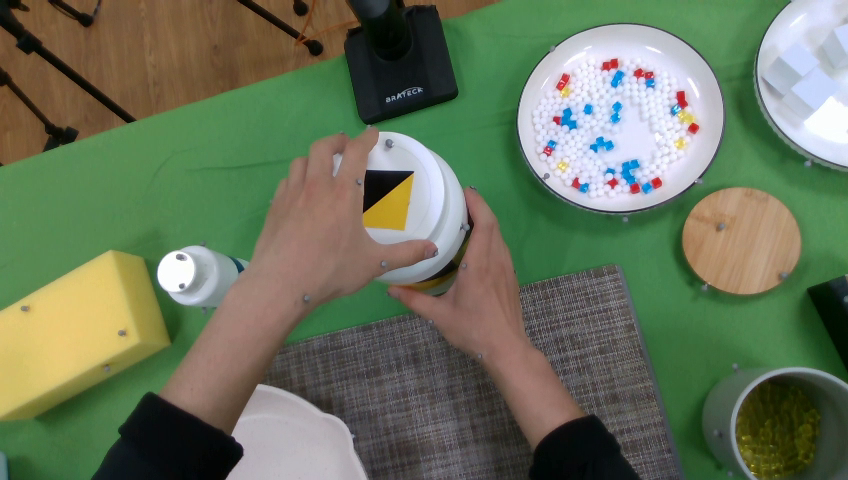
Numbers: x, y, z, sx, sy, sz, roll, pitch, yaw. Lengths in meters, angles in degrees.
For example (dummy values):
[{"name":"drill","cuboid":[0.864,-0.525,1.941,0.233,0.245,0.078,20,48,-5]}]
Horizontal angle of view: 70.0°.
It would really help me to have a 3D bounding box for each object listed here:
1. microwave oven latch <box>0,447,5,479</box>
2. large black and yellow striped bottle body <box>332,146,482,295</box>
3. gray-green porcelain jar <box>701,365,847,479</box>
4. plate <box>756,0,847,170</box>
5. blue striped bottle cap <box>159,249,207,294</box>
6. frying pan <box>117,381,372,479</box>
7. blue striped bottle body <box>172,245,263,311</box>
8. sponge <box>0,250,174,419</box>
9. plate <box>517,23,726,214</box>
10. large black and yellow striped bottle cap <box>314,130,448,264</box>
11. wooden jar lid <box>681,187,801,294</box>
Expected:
[{"name":"microwave oven latch","cuboid":[-0.504,0.279,0.698,0.030,0.029,0.078,-15,77,9]},{"name":"large black and yellow striped bottle body","cuboid":[-0.018,-0.019,0.594,0.130,0.185,0.130,-2,78,12]},{"name":"gray-green porcelain jar","cuboid":[0.302,0.161,0.520,0.105,0.127,0.105,-2,78,12]},{"name":"plate","cuboid":[0.438,-0.162,0.597,0.207,0.039,0.206,-2,79,12]},{"name":"blue striped bottle cap","cuboid":[-0.243,0.032,0.611,0.044,0.021,0.044,-2,77,9]},{"name":"frying pan","cuboid":[-0.113,0.360,0.580,0.307,0.103,0.483,-44,66,2]},{"name":"blue striped bottle body","cuboid":[-0.231,0.042,0.661,0.063,0.121,0.063,-2,79,12]},{"name":"sponge","cuboid":[-0.417,0.113,0.718,0.207,0.061,0.117,-28,75,5]},{"name":"plate","cuboid":[0.204,-0.126,0.642,0.208,0.038,0.208,-2,79,12]},{"name":"large black and yellow striped bottle cap","cuboid":[-0.037,-0.037,0.514,0.115,0.019,0.114,-1,81,9]},{"name":"wooden jar lid","cuboid":[0.313,0.001,0.603,0.108,0.021,0.108,-2,81,12]}]
